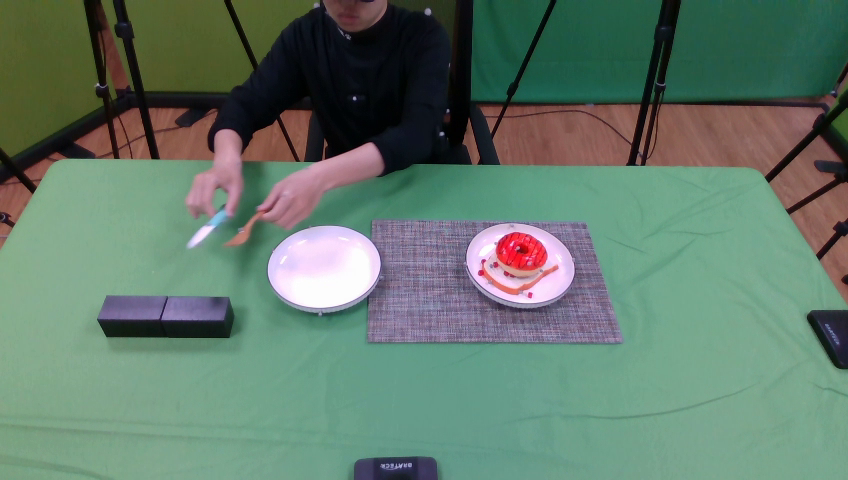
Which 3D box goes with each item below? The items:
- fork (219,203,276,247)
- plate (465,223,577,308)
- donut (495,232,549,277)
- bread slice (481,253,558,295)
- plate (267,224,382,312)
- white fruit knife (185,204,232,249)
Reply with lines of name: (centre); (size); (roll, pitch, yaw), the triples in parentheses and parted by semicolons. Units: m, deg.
fork: (-0.305, -0.029, 1.069); (0.028, 0.019, 0.206); (3, 27, 9)
plate: (0.180, 0.051, 1.144); (0.209, 0.038, 0.208); (2, 45, -2)
donut: (0.180, 0.026, 1.119); (0.099, 0.048, 0.098); (2, 46, -2)
bread slice: (0.177, 0.050, 1.148); (0.131, 0.019, 0.104); (-32, 55, -31)
plate: (-0.181, 0.055, 1.120); (0.208, 0.039, 0.206); (2, 46, -2)
white fruit knife: (-0.379, -0.024, 1.071); (0.027, 0.016, 0.206); (-3, 23, 2)
